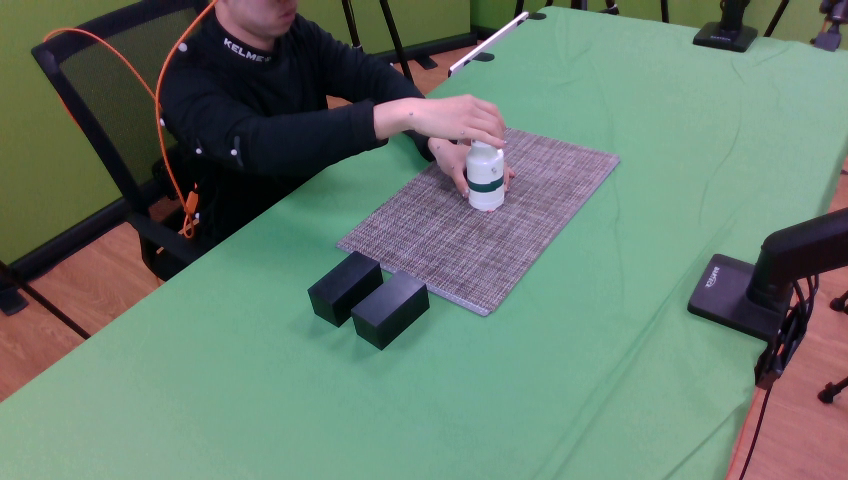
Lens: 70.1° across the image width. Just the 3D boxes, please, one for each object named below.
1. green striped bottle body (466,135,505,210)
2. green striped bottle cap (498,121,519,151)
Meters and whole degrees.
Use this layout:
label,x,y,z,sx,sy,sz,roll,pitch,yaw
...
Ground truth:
label,x,y,z,sx,sy,sz,roll,pitch,yaw
green striped bottle body,0.102,-0.114,1.005,0.063,0.120,0.063,-4,41,4
green striped bottle cap,0.132,-0.162,0.944,0.020,0.045,0.044,-18,38,16
